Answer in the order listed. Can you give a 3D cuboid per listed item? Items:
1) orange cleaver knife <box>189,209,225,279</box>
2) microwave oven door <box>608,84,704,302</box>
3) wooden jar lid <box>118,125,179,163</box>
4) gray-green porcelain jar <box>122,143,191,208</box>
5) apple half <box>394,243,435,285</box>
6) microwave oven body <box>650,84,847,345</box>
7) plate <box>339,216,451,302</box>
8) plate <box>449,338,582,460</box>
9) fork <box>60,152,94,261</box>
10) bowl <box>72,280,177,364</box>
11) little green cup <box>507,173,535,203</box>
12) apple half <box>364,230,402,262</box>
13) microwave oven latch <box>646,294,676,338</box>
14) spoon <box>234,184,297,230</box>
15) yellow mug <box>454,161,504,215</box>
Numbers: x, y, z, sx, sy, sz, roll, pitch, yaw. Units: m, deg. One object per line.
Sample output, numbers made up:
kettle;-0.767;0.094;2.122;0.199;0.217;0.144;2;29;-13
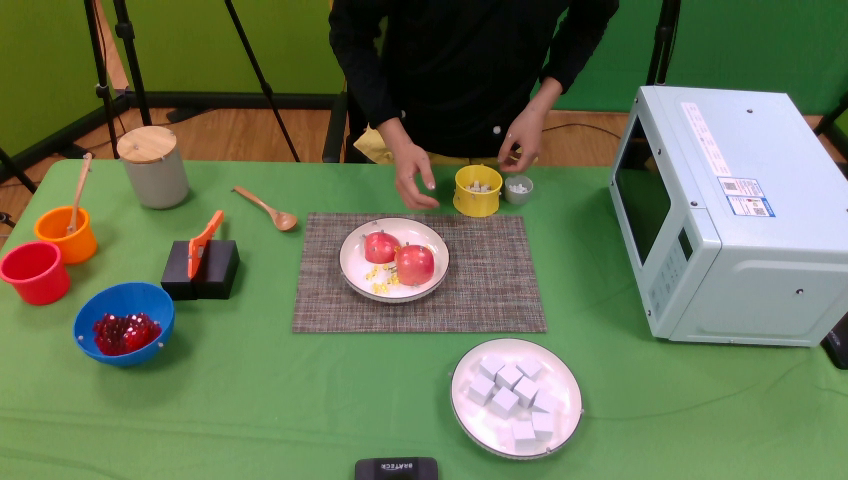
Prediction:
orange cleaver knife;-0.400;0.002;1.122;0.012;0.077;0.210;4;23;-4
microwave oven door;0.424;-0.096;1.138;0.039;0.245;0.353;3;46;-1
wooden jar lid;-0.528;-0.181;1.167;0.108;0.021;0.107;3;47;-4
gray-green porcelain jar;-0.531;-0.137;1.214;0.106;0.127;0.105;2;47;-2
apple half;-0.016;0.036;1.120;0.075;0.053;0.080;1;46;-6
microwave oven body;0.569;-0.054;1.116;0.326;0.261;0.439;2;46;-1
plate;-0.054;0.038;1.138;0.209;0.038;0.208;2;46;-2
plate;0.141;0.251;0.956;0.208;0.039;0.206;2;47;-2
fork;-0.638;-0.063;1.119;0.028;0.018;0.207;12;90;7
bowl;-0.472;0.147;0.982;0.151;0.077;0.150;2;46;-2
little green cup;0.206;-0.111;1.301;0.061;0.039;0.061;3;45;-3
apple half;-0.079;0.004;1.159;0.081;0.033;0.081;3;49;-3
microwave oven latch;0.412;0.133;1.060;0.030;0.029;0.078;3;46;0
spoon;-0.327;-0.073;1.239;0.193;0.022;0.041;34;70;25
yellow mug;0.118;-0.119;1.283;0.100;0.064;0.130;9;43;6
